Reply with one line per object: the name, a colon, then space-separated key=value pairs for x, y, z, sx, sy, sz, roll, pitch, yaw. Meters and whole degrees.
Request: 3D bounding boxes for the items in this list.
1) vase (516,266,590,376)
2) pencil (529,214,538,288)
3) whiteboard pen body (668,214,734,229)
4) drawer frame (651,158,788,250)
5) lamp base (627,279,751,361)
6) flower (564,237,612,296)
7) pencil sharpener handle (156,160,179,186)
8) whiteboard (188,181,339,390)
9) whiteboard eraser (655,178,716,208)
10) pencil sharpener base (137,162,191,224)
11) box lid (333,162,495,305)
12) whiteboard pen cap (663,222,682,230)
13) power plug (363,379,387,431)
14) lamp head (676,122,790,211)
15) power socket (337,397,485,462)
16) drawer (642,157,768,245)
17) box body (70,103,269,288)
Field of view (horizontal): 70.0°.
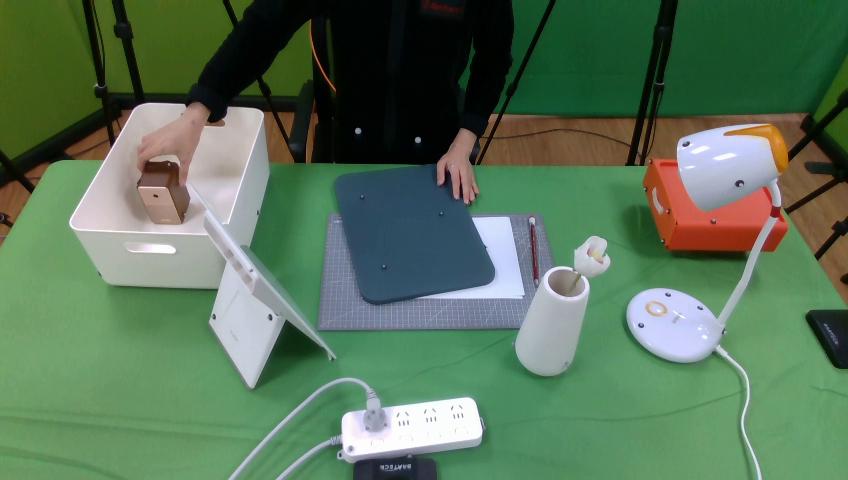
vase: x=0.208 y=0.132 z=0.964 sx=0.098 sy=0.201 sz=0.097 roll=3 pitch=46 yaw=-3
pencil: x=0.219 y=0.019 z=1.202 sx=0.012 sy=0.012 sz=0.193 roll=5 pitch=48 yaw=1
whiteboard pen body: x=0.547 y=-0.035 z=1.200 sx=0.141 sy=0.017 sz=0.017 roll=-8 pitch=48 yaw=-9
drawer frame: x=0.571 y=-0.074 z=1.213 sx=0.214 sy=0.083 sz=0.200 roll=2 pitch=46 yaw=0
lamp base: x=0.459 y=0.100 z=1.027 sx=0.178 sy=0.181 sz=0.160 roll=27 pitch=51 yaw=17
flower: x=0.206 y=0.088 z=0.892 sx=0.038 sy=0.363 sz=0.044 roll=-16 pitch=67 yaw=-9
pencil sharpener handle: x=-0.502 y=-0.139 z=1.199 sx=0.036 sy=0.068 sz=0.030 roll=1 pitch=50 yaw=-2
whiteboard: x=-0.292 y=0.096 z=0.929 sx=0.144 sy=0.307 sz=0.216 roll=-38 pitch=57 yaw=-11
whiteboard eraser: x=0.538 y=-0.095 z=1.251 sx=0.113 sy=0.042 sz=0.055 roll=4 pitch=52 yaw=-10
pencil sharpener base: x=-0.501 y=-0.092 z=1.176 sx=0.061 sy=0.107 sz=0.076 roll=0 pitch=50 yaw=-2
box lid: x=-0.031 y=-0.028 z=1.227 sx=0.264 sy=0.015 sz=0.369 roll=-9 pitch=47 yaw=-13
whiteboard pen cap: x=0.487 y=-0.027 z=1.188 sx=0.033 sy=0.018 sz=0.018 roll=0 pitch=46 yaw=-15
power plug: x=-0.072 y=0.252 z=0.910 sx=0.035 sy=0.053 sz=0.072 roll=3 pitch=45 yaw=-1
lamp head: x=0.423 y=-0.104 z=0.819 sx=0.122 sy=0.113 sz=0.112 roll=-13 pitch=33 yaw=40
power socket: x=-0.018 y=0.285 z=0.915 sx=0.227 sy=0.033 sz=0.071 roll=-5 pitch=46 yaw=-8
drawer: x=0.564 y=-0.075 z=1.210 sx=0.212 sy=0.073 sz=0.193 roll=3 pitch=45 yaw=-1
box body: x=-0.450 y=-0.087 z=1.148 sx=0.254 sy=0.161 sz=0.361 roll=2 pitch=46 yaw=-2
